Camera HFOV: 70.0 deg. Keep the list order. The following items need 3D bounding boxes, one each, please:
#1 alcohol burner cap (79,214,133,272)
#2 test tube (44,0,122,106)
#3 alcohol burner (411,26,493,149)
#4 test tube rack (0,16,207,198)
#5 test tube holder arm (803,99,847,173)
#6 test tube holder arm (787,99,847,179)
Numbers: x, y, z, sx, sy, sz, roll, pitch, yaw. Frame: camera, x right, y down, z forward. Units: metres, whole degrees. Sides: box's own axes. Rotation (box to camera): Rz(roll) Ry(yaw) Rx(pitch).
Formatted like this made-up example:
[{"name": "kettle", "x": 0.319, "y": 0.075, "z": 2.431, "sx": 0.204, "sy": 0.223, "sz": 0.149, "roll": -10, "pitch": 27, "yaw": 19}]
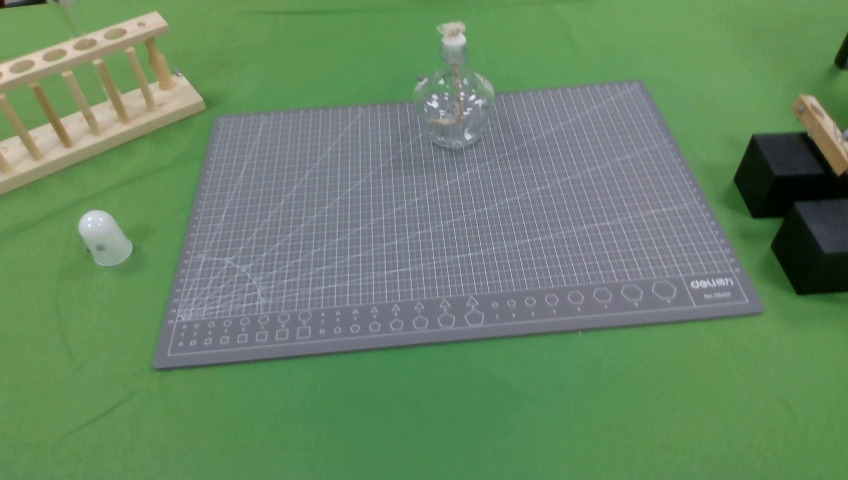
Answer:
[{"name": "alcohol burner cap", "x": -0.267, "y": -0.001, "z": 0.503, "sx": 0.034, "sy": 0.048, "sz": 0.033, "roll": -1, "pitch": 48, "yaw": 2}, {"name": "test tube", "x": -0.332, "y": -0.194, "z": 0.577, "sx": 0.017, "sy": 0.152, "sz": 0.017, "roll": -8, "pitch": 42, "yaw": 8}, {"name": "alcohol burner", "x": 0.026, "y": -0.143, "z": 0.558, "sx": 0.078, "sy": 0.120, "sz": 0.077, "roll": -1, "pitch": 49, "yaw": 1}, {"name": "test tube rack", "x": -0.350, "y": -0.127, "z": 0.590, "sx": 0.242, "sy": 0.086, "sz": 0.066, "roll": -30, "pitch": 53, "yaw": -21}, {"name": "test tube holder arm", "x": 0.330, "y": -0.050, "z": 0.462, "sx": 0.013, "sy": 0.015, "sz": 0.176, "roll": -5, "pitch": 49, "yaw": -4}, {"name": "test tube holder arm", "x": 0.320, "y": -0.083, "z": 0.490, "sx": 0.010, "sy": 0.015, "sz": 0.087, "roll": -4, "pitch": 49, "yaw": -2}]
